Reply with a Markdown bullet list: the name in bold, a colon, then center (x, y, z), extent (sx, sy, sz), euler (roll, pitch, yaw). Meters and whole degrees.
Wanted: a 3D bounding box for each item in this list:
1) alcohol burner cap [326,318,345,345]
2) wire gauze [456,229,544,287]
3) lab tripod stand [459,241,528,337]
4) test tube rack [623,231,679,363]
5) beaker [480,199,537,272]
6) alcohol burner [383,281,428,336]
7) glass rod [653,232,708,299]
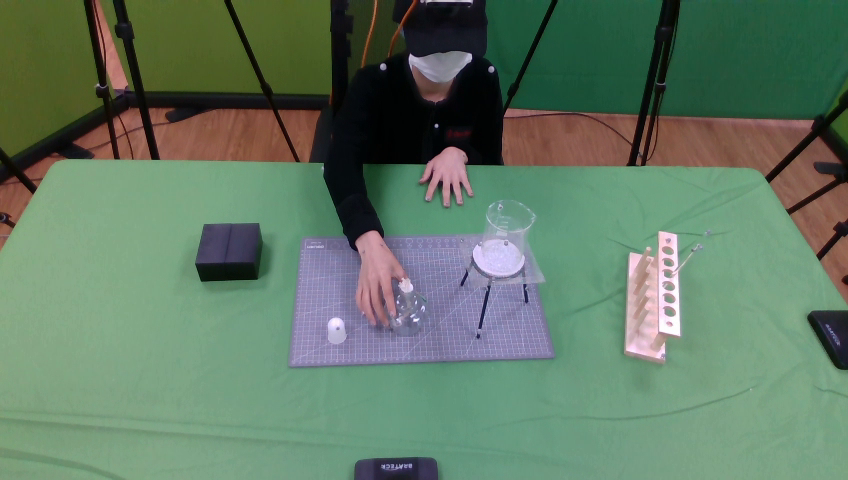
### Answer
- **alcohol burner cap**: center (-0.149, 0.151, 1.023), extent (0.034, 0.048, 0.033), euler (3, 46, -3)
- **wire gauze**: center (0.125, 0.030, 1.008), extent (0.125, 0.011, 0.120), euler (-3, 48, -11)
- **lab tripod stand**: center (0.122, 0.075, 1.054), extent (0.148, 0.132, 0.147), euler (3, 44, -2)
- **test tube rack**: center (0.410, 0.094, 1.096), extent (0.066, 0.085, 0.241), euler (13, 46, 9)
- **beaker**: center (0.132, -0.004, 0.973), extent (0.084, 0.101, 0.073), euler (-4, 47, -9)
- **alcohol burner**: center (-0.031, 0.108, 1.025), extent (0.078, 0.119, 0.077), euler (2, 47, -2)
- **glass rod**: center (0.441, 0.049, 1.050), extent (0.008, 0.200, 0.008), euler (4, 52, -5)
